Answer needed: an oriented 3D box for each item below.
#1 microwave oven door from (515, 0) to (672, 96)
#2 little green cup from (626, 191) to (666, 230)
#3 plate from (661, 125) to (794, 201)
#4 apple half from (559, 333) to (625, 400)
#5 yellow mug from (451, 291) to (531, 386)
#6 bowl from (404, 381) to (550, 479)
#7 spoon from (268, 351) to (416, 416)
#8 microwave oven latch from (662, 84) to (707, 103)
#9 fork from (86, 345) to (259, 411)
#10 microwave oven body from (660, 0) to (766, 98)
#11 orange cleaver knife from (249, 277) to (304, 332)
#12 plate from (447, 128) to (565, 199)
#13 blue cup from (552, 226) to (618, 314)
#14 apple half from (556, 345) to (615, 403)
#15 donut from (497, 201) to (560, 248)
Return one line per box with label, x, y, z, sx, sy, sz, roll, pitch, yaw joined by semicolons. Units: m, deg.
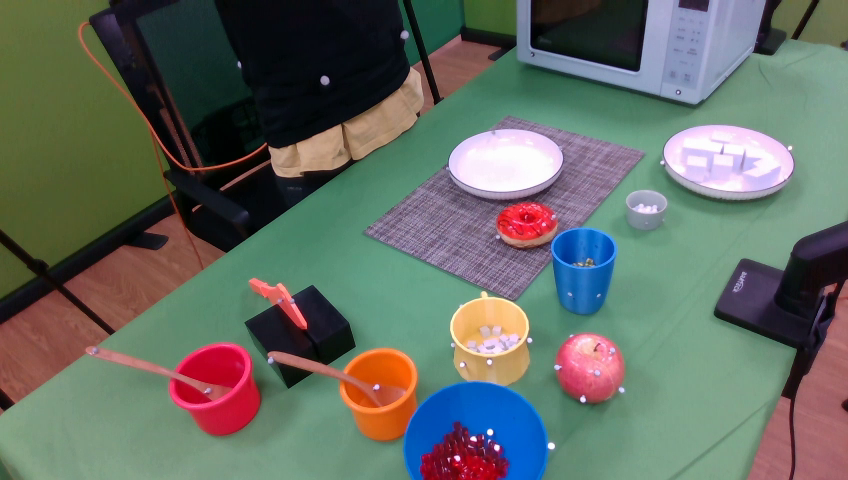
microwave oven door;0.343;-0.454;1.259;0.353;0.245;0.039;26;51;33
little green cup;0.352;-0.046;0.963;0.061;0.039;0.061;-4;40;4
plate;0.513;-0.128;1.035;0.207;0.039;0.206;-4;40;4
apple half;0.209;0.147;0.730;0.080;0.075;0.053;26;48;38
yellow mug;0.085;0.120;0.786;0.100;0.064;0.130;-7;39;1
bowl;0.058;0.235;0.645;0.151;0.077;0.150;-4;39;4
spoon;-0.090;0.162;0.699;0.021;0.195;0.041;-44;30;27
microwave oven latch;0.517;-0.296;1.204;0.078;0.029;0.030;27;52;35
fork;-0.298;0.166;0.728;0.209;0.018;0.028;28;49;-23
microwave oven body;0.472;-0.513;1.317;0.438;0.261;0.327;26;51;34
orange cleaver knife;-0.210;0.089;0.855;0.012;0.077;0.210;-27;14;-25
plate;0.147;-0.134;1.092;0.209;0.038;0.208;-4;40;4
blue cup;0.218;0.047;0.826;0.092;0.101;0.092;-6;40;5
apple half;0.181;0.167;0.709;0.080;0.081;0.033;29;49;35
donut;0.165;-0.026;0.958;0.099;0.048;0.098;-5;38;5
